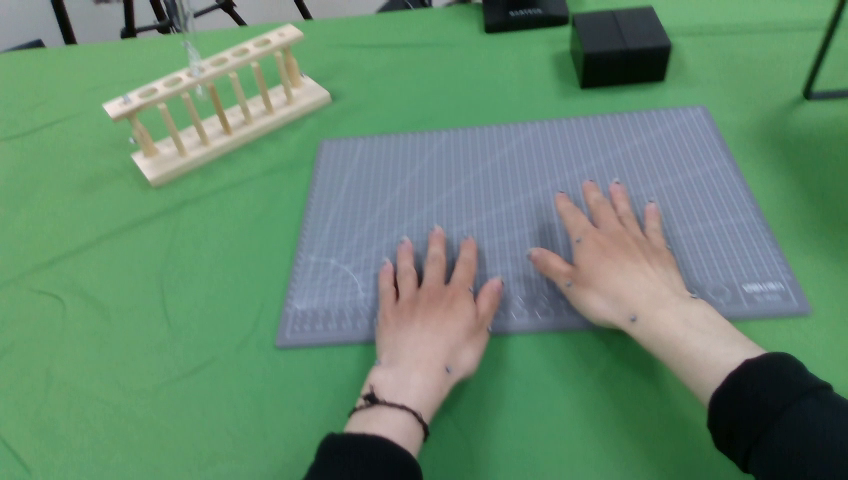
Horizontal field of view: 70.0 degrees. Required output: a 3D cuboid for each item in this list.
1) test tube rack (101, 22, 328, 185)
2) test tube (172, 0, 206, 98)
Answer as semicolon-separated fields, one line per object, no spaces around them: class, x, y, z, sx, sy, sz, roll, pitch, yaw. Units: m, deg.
test tube rack;-0.244;-0.170;0.734;0.242;0.086;0.066;-33;51;-21
test tube;-0.274;-0.240;0.698;0.017;0.151;0.017;-6;16;2
